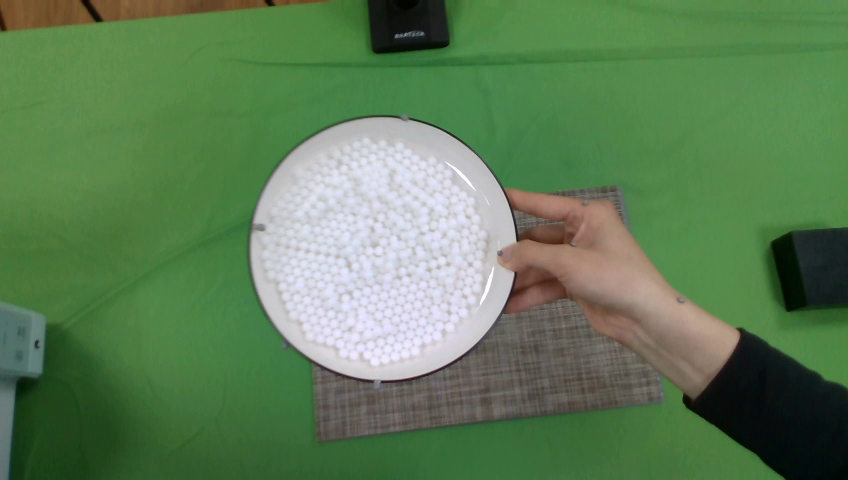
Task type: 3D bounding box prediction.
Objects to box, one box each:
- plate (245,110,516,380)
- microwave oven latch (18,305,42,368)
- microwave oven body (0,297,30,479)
[{"bbox_3d":[-0.032,0.002,0.478,0.209,0.038,0.208,1,82,-4],"label":"plate"},{"bbox_3d":[-0.510,0.124,0.773,0.030,0.029,0.078,-2,75,-2],"label":"microwave oven latch"},{"bbox_3d":[-0.638,0.280,0.628,0.326,0.261,0.439,-5,75,-3],"label":"microwave oven body"}]
